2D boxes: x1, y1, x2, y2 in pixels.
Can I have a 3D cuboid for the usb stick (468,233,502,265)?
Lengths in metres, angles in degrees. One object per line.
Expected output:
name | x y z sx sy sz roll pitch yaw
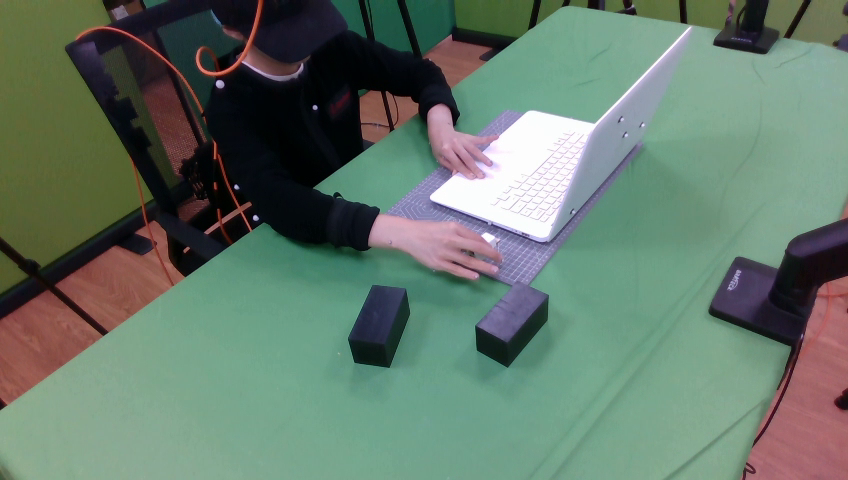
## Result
usb stick | 0.094 0.010 0.911 0.059 0.027 0.021 -34 47 -31

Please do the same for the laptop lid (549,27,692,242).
laptop lid | 0.311 -0.167 0.948 0.013 0.242 0.358 33 52 20

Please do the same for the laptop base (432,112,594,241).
laptop base | 0.208 -0.129 1.098 0.233 0.023 0.355 20 47 34
